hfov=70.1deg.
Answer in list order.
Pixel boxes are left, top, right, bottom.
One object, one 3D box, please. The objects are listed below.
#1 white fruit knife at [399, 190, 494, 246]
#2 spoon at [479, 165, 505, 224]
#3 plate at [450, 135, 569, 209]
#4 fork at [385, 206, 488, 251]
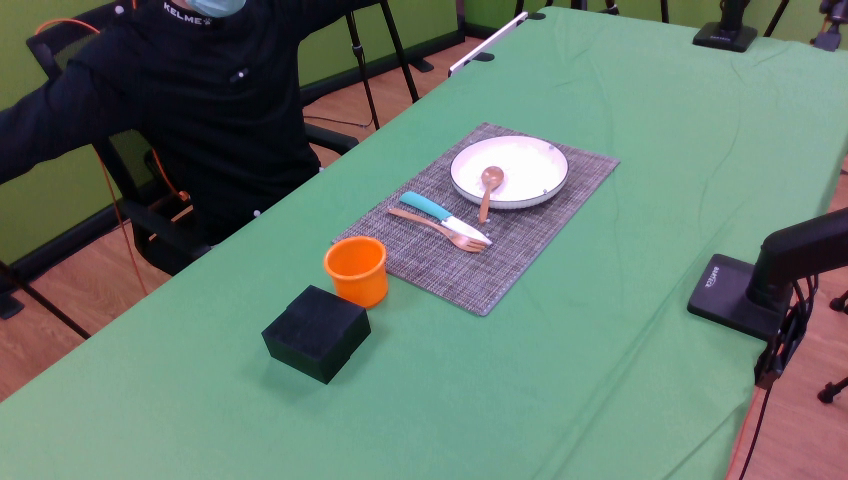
[{"bbox_3d":[0.036,-0.038,1.009,0.205,0.016,0.027,32,84,34],"label":"white fruit knife"},{"bbox_3d":[0.107,-0.079,1.005,0.041,0.022,0.193,4,29,11],"label":"spoon"},{"bbox_3d":[0.149,-0.117,1.066,0.209,0.038,0.208,-3,41,3],"label":"plate"},{"bbox_3d":[0.015,-0.022,0.988,0.206,0.019,0.028,24,61,30],"label":"fork"}]
